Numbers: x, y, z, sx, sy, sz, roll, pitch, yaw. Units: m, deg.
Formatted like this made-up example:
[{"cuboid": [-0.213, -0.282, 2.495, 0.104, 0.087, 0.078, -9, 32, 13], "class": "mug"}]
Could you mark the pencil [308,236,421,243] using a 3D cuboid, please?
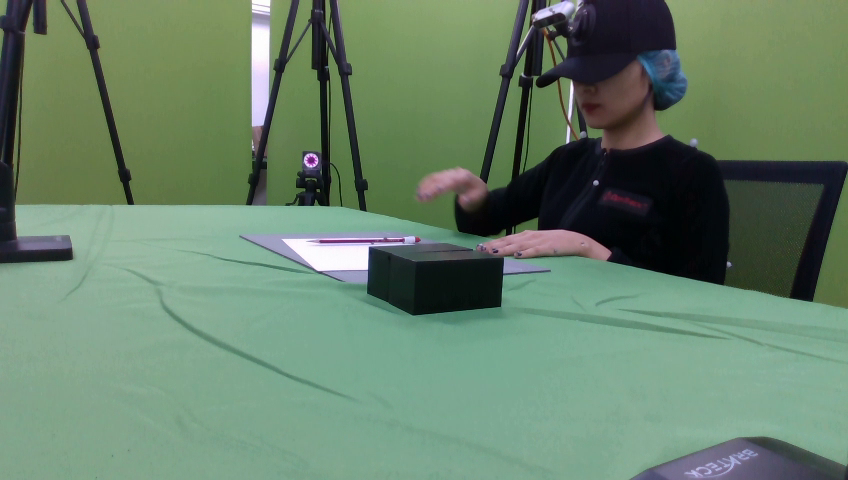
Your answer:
[{"cuboid": [-0.093, 0.000, 0.982, 0.195, 0.012, 0.012, -1, 7, -27], "class": "pencil"}]
